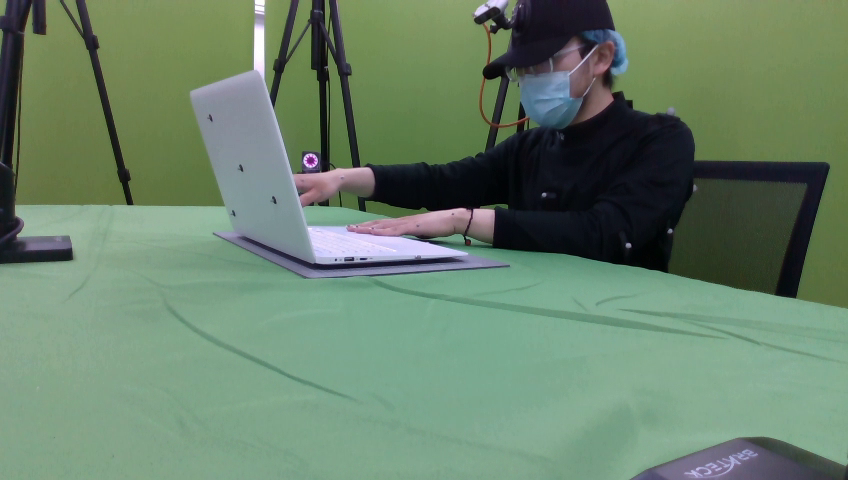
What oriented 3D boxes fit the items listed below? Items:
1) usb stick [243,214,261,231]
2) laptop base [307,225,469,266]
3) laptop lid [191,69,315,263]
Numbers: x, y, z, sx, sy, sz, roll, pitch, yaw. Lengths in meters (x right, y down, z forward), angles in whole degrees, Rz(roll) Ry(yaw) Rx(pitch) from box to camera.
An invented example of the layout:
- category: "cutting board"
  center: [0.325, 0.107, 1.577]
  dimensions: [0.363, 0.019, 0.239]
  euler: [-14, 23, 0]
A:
- category: "usb stick"
  center: [-0.298, -0.030, 1.053]
  dimensions: [0.021, 0.027, 0.059]
  euler: [-1, 10, -31]
- category: "laptop base"
  center: [-0.125, 0.006, 0.936]
  dimensions: [0.237, 0.023, 0.352]
  euler: [2, 7, -33]
- category: "laptop lid"
  center: [-0.250, -0.102, 0.838]
  dimensions: [0.013, 0.242, 0.355]
  euler: [-22, 20, -29]
